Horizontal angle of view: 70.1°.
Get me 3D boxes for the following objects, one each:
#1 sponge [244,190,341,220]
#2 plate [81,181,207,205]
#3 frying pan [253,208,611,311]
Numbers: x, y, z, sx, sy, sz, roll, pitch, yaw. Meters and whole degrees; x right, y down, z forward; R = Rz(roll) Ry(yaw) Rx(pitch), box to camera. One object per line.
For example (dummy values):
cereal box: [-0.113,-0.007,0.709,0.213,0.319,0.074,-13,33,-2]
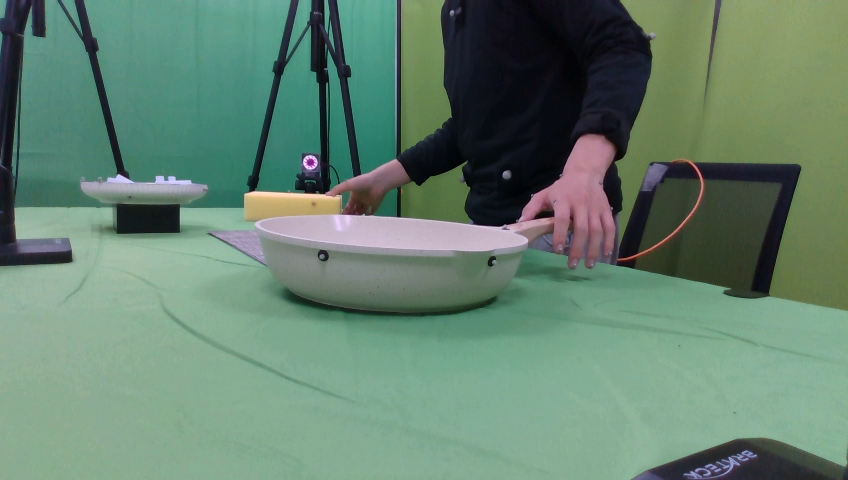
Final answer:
sponge: [-0.297,-0.077,1.388,0.207,0.061,0.118,2,7,-8]
plate: [-0.504,-0.086,1.101,0.208,0.039,0.207,1,6,0]
frying pan: [0.052,-0.001,0.715,0.490,0.102,0.305,-11,15,-31]
